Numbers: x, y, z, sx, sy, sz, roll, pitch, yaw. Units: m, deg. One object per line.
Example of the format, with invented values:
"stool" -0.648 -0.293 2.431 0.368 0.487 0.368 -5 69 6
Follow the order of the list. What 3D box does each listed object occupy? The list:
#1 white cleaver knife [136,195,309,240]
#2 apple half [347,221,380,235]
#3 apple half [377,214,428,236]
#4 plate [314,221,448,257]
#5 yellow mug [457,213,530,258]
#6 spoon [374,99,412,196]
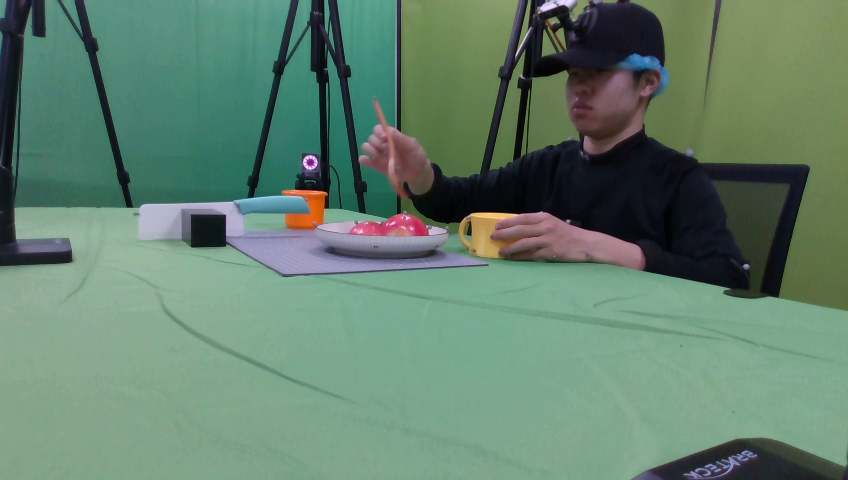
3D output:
"white cleaver knife" -0.337 -0.039 1.037 0.288 0.066 0.021 -6 15 -29
"apple half" -0.088 -0.014 0.985 0.081 0.033 0.081 5 6 0
"apple half" -0.034 -0.013 0.924 0.080 0.053 0.075 5 10 16
"plate" -0.066 -0.002 0.947 0.209 0.038 0.209 3 7 0
"yellow mug" 0.109 -0.010 0.992 0.130 0.064 0.100 6 7 37
"spoon" -0.052 -0.155 0.995 0.021 0.193 0.042 -18 -23 8
